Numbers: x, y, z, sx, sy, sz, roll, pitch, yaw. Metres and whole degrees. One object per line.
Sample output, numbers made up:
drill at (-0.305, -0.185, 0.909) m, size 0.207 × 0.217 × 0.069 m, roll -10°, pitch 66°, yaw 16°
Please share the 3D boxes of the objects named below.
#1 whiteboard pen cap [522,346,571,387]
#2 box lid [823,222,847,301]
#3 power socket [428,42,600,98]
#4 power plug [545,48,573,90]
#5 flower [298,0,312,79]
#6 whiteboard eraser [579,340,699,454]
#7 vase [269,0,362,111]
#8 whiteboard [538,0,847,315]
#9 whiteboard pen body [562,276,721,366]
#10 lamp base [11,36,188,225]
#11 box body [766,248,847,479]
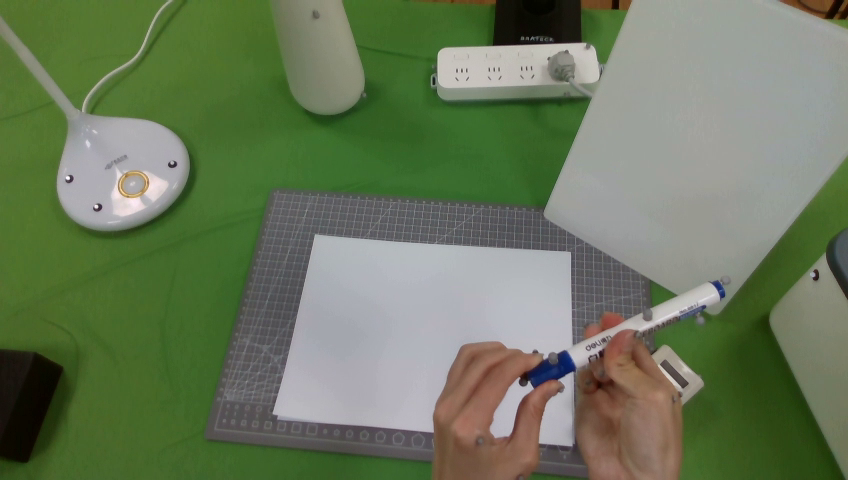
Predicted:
whiteboard pen cap at (0.084, 0.085, 0.412) m, size 0.033 × 0.018 × 0.018 m, roll -28°, pitch 64°, yaw -7°
box lid at (0.499, 0.120, 0.448) m, size 0.263 × 0.015 × 0.368 m, roll -12°, pitch 63°, yaw -3°
power socket at (0.118, -0.225, 0.799) m, size 0.227 × 0.033 × 0.071 m, roll 0°, pitch 63°, yaw 1°
power plug at (0.168, -0.209, 0.764) m, size 0.035 × 0.053 × 0.072 m, roll 9°, pitch 69°, yaw 7°
flower at (-0.118, -0.276, 0.648) m, size 0.044 × 0.362 × 0.038 m, roll -35°, pitch 83°, yaw -24°
whiteboard eraser at (0.209, 0.152, 0.592) m, size 0.112 × 0.042 × 0.055 m, roll -36°, pitch 66°, yaw -15°
vase at (-0.133, -0.247, 0.726) m, size 0.098 × 0.201 × 0.097 m, roll -1°, pitch 62°, yaw 3°
whiteboard at (0.286, -0.113, 0.616) m, size 0.216 × 0.307 × 0.143 m, roll 34°, pitch 48°, yaw 19°
whiteboard pen body at (0.138, 0.060, 0.414) m, size 0.141 × 0.017 × 0.017 m, roll -25°, pitch 64°, yaw -2°
lamp base at (-0.386, -0.131, 0.685) m, size 0.178 × 0.182 × 0.160 m, roll 35°, pitch 69°, yaw 22°
box body at (0.503, 0.157, 0.514) m, size 0.254 × 0.161 × 0.360 m, roll -12°, pitch 63°, yaw -4°
